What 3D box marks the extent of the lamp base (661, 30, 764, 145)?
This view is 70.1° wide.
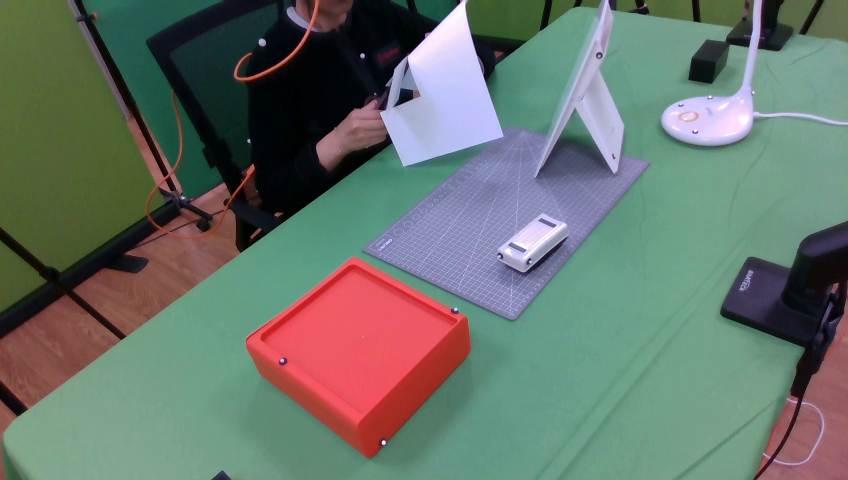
[{"bbox_3d":[0.535,-0.287,1.095,0.179,0.181,0.159,-10,40,-4],"label":"lamp base"}]

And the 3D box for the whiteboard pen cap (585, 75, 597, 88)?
[{"bbox_3d":[0.362,-0.343,1.310,0.018,0.018,0.033,20,54,29],"label":"whiteboard pen cap"}]

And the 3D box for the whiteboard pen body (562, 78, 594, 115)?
[{"bbox_3d":[0.328,-0.306,1.277,0.017,0.017,0.141,20,52,30],"label":"whiteboard pen body"}]

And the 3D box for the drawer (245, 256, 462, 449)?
[{"bbox_3d":[-0.089,0.136,0.792,0.210,0.073,0.195,26,51,34],"label":"drawer"}]

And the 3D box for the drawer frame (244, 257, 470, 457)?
[{"bbox_3d":[-0.084,0.138,0.788,0.212,0.083,0.202,25,50,33],"label":"drawer frame"}]

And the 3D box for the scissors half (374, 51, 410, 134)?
[{"bbox_3d":[-0.056,-0.276,1.143,0.040,0.175,0.013,33,36,14],"label":"scissors half"}]

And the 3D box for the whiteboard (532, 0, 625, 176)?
[{"bbox_3d":[0.320,-0.259,1.050,0.144,0.306,0.217,21,45,5],"label":"whiteboard"}]

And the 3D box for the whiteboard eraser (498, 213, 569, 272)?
[{"bbox_3d":[0.168,0.006,0.923,0.113,0.042,0.055,-36,48,-28],"label":"whiteboard eraser"}]

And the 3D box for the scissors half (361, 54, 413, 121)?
[{"bbox_3d":[-0.071,-0.291,1.146,0.040,0.174,0.013,54,39,5],"label":"scissors half"}]
